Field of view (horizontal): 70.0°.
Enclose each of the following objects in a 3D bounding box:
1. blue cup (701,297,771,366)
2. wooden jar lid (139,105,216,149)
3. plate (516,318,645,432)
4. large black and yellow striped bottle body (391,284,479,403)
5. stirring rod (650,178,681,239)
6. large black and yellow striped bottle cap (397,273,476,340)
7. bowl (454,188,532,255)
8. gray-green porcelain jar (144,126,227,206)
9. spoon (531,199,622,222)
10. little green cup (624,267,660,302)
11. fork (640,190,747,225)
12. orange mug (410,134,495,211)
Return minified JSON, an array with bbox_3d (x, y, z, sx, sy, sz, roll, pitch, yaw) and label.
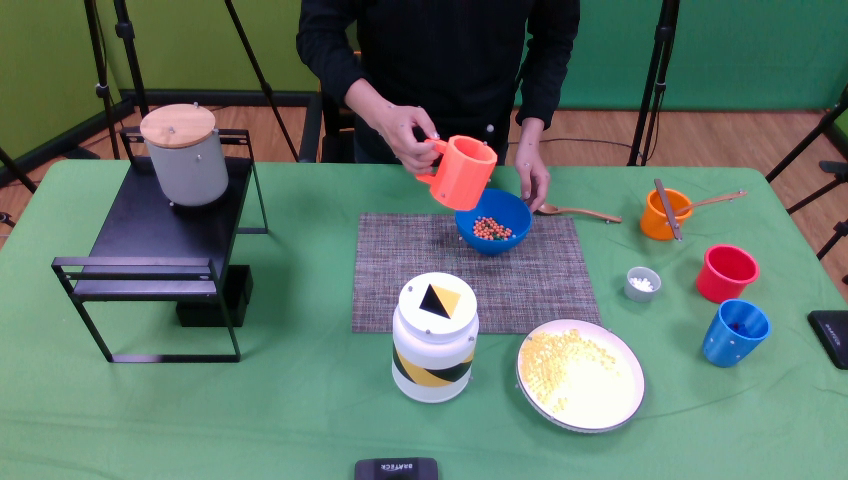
[{"bbox_3d":[0.519,0.162,1.025,0.093,0.101,0.092,3,45,-3],"label":"blue cup"},{"bbox_3d":[-0.372,-0.169,0.920,0.108,0.021,0.107,4,44,-4],"label":"wooden jar lid"},{"bbox_3d":[0.253,0.221,0.992,0.209,0.038,0.208,2,46,-2],"label":"plate"},{"bbox_3d":[0.015,0.153,0.937,0.131,0.185,0.130,2,46,-2],"label":"large black and yellow striped bottle body"},{"bbox_3d":[0.479,-0.065,1.204,0.014,0.006,0.175,3,46,-3],"label":"stirring rod"},{"bbox_3d":[0.018,0.094,0.878,0.115,0.019,0.114,3,46,-3],"label":"large black and yellow striped bottle cap"},{"bbox_3d":[0.130,-0.024,1.186,0.151,0.077,0.150,3,45,-2],"label":"bowl"},{"bbox_3d":[-0.375,-0.125,0.967,0.106,0.127,0.105,2,46,-2],"label":"gray-green porcelain jar"},{"bbox_3d":[0.322,-0.060,1.279,0.194,0.022,0.041,8,32,4],"label":"spoon"},{"bbox_3d":[0.406,0.084,1.135,0.061,0.039,0.061,3,46,-3],"label":"little green cup"},{"bbox_3d":[0.533,-0.065,1.211,0.207,0.019,0.028,-22,28,39],"label":"fork"},{"bbox_3d":[0.045,-0.119,1.002,0.126,0.101,0.083,23,34,-7],"label":"orange mug"}]
